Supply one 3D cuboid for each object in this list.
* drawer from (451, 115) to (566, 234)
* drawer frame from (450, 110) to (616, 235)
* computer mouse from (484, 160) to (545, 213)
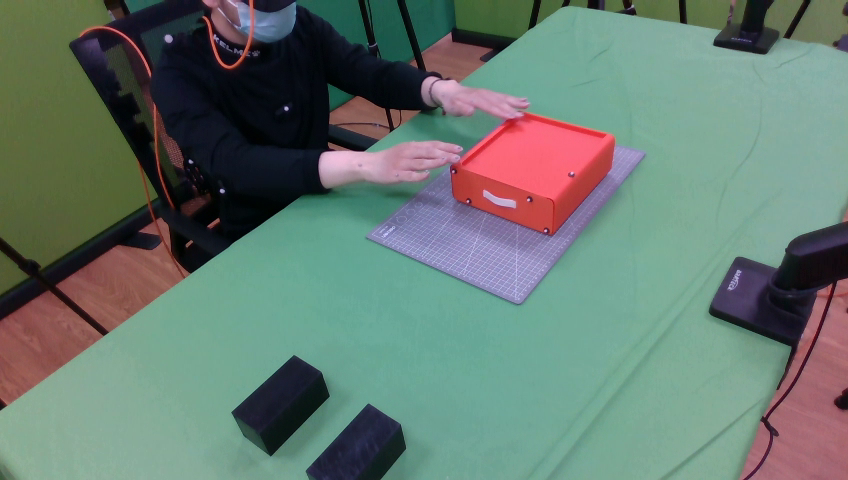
[{"bbox_3d":[0.185,-0.121,1.034,0.193,0.073,0.212,23,48,31],"label":"drawer"},{"bbox_3d":[0.186,-0.124,1.034,0.200,0.083,0.214,23,48,31],"label":"drawer frame"},{"bbox_3d":[0.152,-0.094,1.011,0.063,0.041,0.116,-11,52,-28],"label":"computer mouse"}]
